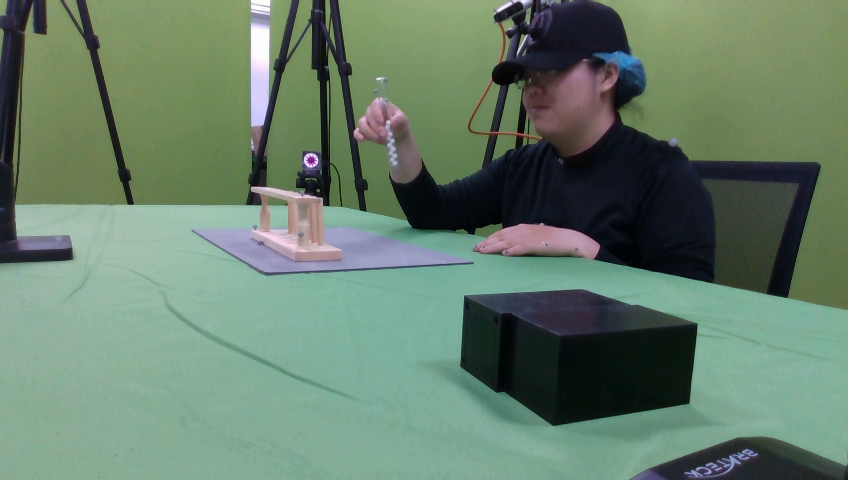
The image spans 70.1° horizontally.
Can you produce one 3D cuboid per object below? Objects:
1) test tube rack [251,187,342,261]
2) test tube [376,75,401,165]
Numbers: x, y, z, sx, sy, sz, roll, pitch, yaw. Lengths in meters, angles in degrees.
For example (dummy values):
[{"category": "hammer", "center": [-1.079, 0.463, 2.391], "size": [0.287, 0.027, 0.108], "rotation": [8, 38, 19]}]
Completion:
[{"category": "test tube rack", "center": [-0.196, -0.030, 0.902], "size": [0.067, 0.085, 0.241], "rotation": [-1, 8, -29]}, {"category": "test tube", "center": [-0.059, -0.200, 1.018], "size": [0.017, 0.150, 0.017], "rotation": [-10, 15, 3]}]
